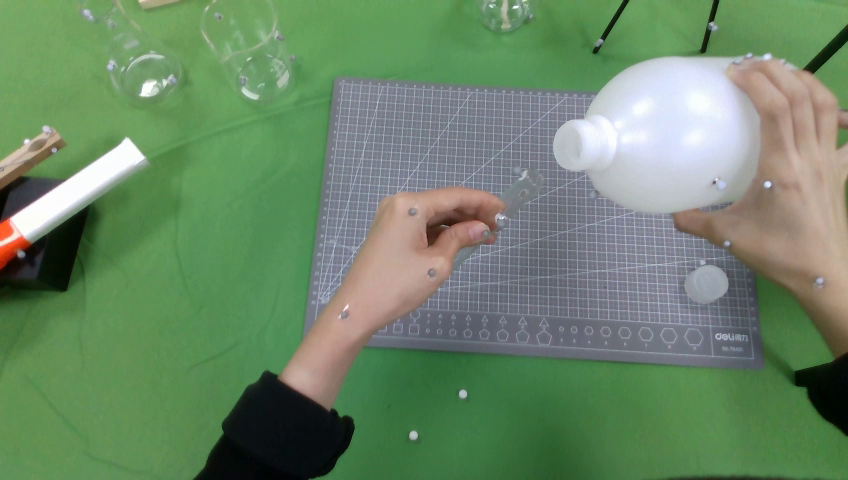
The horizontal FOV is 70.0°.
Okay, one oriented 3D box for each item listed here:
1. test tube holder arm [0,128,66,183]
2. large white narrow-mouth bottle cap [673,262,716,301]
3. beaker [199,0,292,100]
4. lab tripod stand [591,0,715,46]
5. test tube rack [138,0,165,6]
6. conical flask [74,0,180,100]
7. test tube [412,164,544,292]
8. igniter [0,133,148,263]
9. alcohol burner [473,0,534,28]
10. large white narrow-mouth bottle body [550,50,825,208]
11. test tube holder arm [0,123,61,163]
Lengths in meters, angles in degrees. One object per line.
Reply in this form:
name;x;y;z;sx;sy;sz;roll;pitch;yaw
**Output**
test tube holder arm;-0.388;-0.077;0.582;0.088;0.015;0.010;-39;77;-13
large white narrow-mouth bottle cap;0.270;0.041;0.605;0.038;0.024;0.037;0;73;0
beaker;-0.183;-0.199;0.634;0.074;0.101;0.083;18;73;6
lab tripod stand;0.259;-0.278;0.650;0.148;0.132;0.147;1;71;-2
test tube rack;-0.224;-0.350;0.688;0.242;0.085;0.066;-17;73;-7
conical flask;-0.308;-0.206;0.621;0.075;0.122;0.075;0;71;-1
test tube;0.033;-0.003;0.434;0.017;0.150;0.017;21;46;-23
igniter;-0.383;-0.008;0.557;0.276;0.025;0.057;-40;79;-16
alcohol burner;0.090;-0.290;0.661;0.078;0.120;0.077;1;70;-2
large white narrow-mouth bottle body;0.169;-0.073;0.409;0.195;0.102;0.101;-11;70;-27
test tube holder arm;-0.425;-0.052;0.573;0.178;0.015;0.013;-40;77;-13
